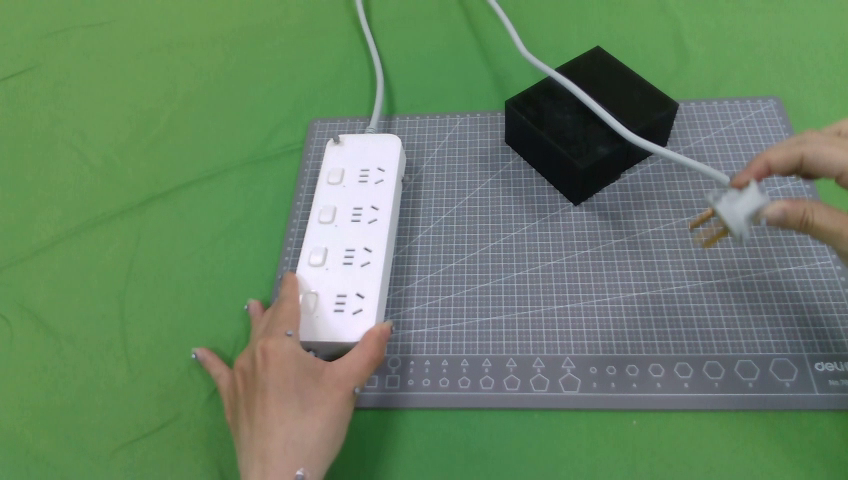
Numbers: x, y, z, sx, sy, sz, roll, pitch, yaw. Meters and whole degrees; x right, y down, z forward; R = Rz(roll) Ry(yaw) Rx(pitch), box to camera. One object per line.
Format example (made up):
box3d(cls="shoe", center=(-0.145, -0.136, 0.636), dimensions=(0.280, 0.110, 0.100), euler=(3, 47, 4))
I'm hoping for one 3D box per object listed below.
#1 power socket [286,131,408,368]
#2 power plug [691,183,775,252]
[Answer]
box3d(cls="power socket", center=(-0.059, -0.005, 0.506), dimensions=(0.072, 0.033, 0.224), euler=(2, 56, 7))
box3d(cls="power plug", center=(0.199, -0.010, 0.390), dimensions=(0.052, 0.073, 0.035), euler=(-38, 65, 18))
